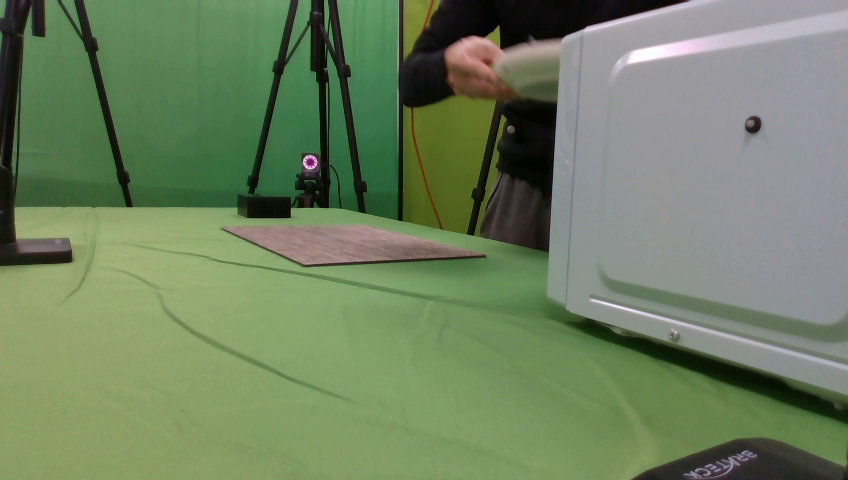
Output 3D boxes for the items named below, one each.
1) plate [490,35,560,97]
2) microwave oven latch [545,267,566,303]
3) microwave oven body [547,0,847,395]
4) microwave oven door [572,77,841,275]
[{"bbox_3d":[0.189,-0.219,0.789,0.209,0.038,0.209,2,2,0],"label":"plate"},{"bbox_3d":[0.148,0.039,0.555,0.079,0.029,0.030,-1,7,-28],"label":"microwave oven latch"},{"bbox_3d":[0.378,-0.046,0.510,0.444,0.260,0.324,-2,7,-31],"label":"microwave oven body"},{"bbox_3d":[0.376,-0.094,0.866,0.039,0.243,0.354,-4,9,-41],"label":"microwave oven door"}]
